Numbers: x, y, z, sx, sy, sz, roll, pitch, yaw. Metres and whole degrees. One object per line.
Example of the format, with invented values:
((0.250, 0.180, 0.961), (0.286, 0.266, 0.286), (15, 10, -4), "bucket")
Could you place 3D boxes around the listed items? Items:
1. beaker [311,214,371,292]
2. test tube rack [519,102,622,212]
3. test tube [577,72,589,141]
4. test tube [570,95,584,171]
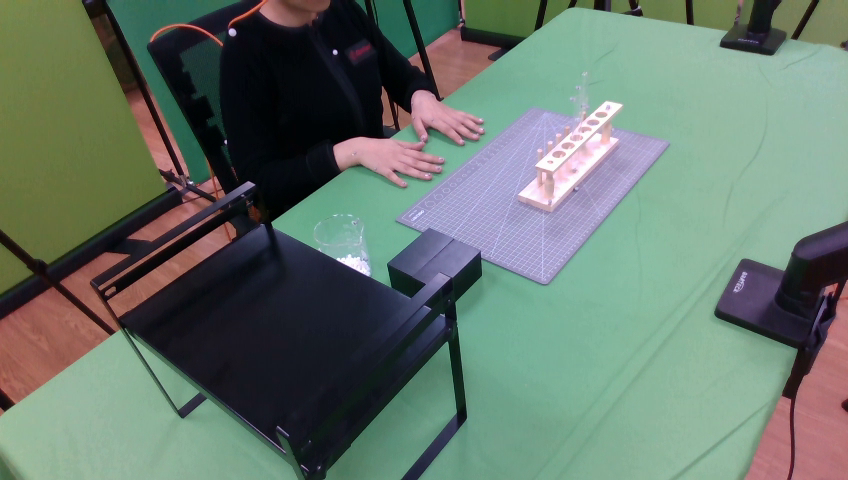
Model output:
((-0.118, 0.022, 0.908), (0.083, 0.101, 0.074), (26, 51, 32), "beaker")
((0.260, -0.155, 1.065), (0.066, 0.085, 0.243), (24, 50, 32), "test tube rack")
((0.284, -0.233, 1.084), (0.017, 0.151, 0.017), (-5, 44, 6), "test tube")
((0.256, -0.175, 1.013), (0.017, 0.151, 0.017), (-5, 47, 6), "test tube")
